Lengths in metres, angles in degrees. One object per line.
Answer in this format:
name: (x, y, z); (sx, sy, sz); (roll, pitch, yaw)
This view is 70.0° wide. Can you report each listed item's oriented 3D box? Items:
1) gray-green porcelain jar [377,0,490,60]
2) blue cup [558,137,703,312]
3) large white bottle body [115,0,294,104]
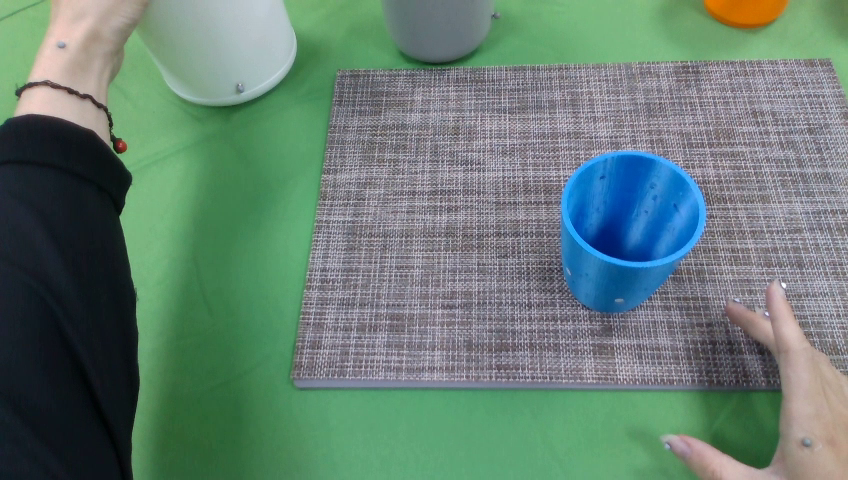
gray-green porcelain jar: (0.007, -0.237, 0.542); (0.106, 0.127, 0.105); (-2, 61, 4)
blue cup: (0.130, 0.002, 0.410); (0.092, 0.101, 0.092); (-3, 60, 5)
large white bottle body: (-0.197, -0.223, 0.514); (0.130, 0.186, 0.129); (-2, 59, 4)
